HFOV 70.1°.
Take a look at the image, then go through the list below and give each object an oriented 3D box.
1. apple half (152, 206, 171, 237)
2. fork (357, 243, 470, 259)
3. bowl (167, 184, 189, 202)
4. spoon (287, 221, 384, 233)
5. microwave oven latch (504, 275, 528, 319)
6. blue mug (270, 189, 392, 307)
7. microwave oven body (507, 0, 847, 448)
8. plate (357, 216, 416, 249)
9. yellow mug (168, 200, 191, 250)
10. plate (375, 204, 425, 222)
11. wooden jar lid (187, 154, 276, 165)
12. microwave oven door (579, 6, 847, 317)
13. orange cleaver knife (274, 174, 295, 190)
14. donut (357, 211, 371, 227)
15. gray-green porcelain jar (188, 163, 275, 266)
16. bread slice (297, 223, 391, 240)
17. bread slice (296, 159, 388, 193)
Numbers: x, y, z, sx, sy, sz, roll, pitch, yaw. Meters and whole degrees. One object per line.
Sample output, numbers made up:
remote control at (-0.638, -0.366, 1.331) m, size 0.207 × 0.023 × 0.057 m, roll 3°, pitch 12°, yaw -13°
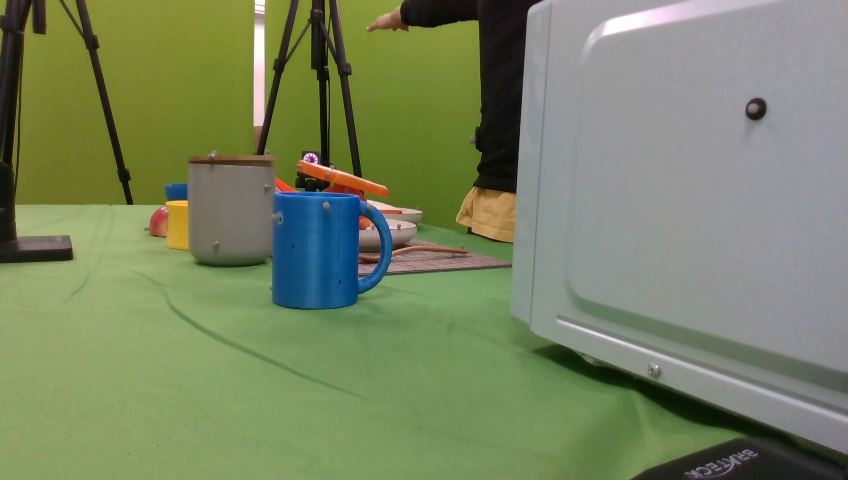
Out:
apple half at (-0.415, -0.034, 1.017) m, size 0.081 × 0.053 × 0.074 m, roll 1°, pitch 10°, yaw -8°
fork at (-0.017, 0.014, 0.845) m, size 0.208 × 0.018 × 0.028 m, roll -5°, pitch -1°, yaw -35°
bowl at (-0.408, -0.064, 1.154) m, size 0.151 × 0.077 × 0.151 m, roll 2°, pitch 8°, yaw 0°
spoon at (-0.156, -0.027, 1.110) m, size 0.195 × 0.021 × 0.041 m, roll -4°, pitch -14°, yaw -35°
microwave oven latch at (0.100, 0.041, 0.471) m, size 0.079 × 0.029 × 0.030 m, roll -1°, pitch 7°, yaw -27°
blue mug at (-0.090, 0.005, 0.588) m, size 0.117 × 0.106 × 0.082 m, roll 1°, pitch 7°, yaw -11°
microwave oven body at (0.331, -0.042, 0.425) m, size 0.444 × 0.260 × 0.324 m, roll -2°, pitch 8°, yaw -31°
plate at (-0.116, -0.014, 0.967) m, size 0.208 × 0.039 × 0.207 m, roll 2°, pitch 7°, yaw 0°
yellow mug at (-0.320, -0.023, 0.904) m, size 0.130 × 0.064 × 0.100 m, roll 8°, pitch 10°, yaw 36°
plate at (-0.102, -0.053, 1.299) m, size 0.209 × 0.038 × 0.209 m, roll 2°, pitch 8°, yaw 0°
wooden jar lid at (-0.244, -0.097, 0.771) m, size 0.108 × 0.020 × 0.108 m, roll -1°, pitch 7°, yaw 0°
microwave oven door at (0.294, -0.067, 0.570) m, size 0.358 × 0.243 × 0.039 m, roll -3°, pitch 9°, yaw -31°
orange cleaver knife at (-0.283, -0.087, 1.343) m, size 0.212 × 0.077 × 0.012 m, roll 23°, pitch -15°, yaw -41°
donut at (-0.129, -0.041, 0.956) m, size 0.099 × 0.048 × 0.099 m, roll 2°, pitch 7°, yaw 0°
gray-green porcelain jar at (-0.246, -0.034, 0.779) m, size 0.106 × 0.126 × 0.106 m, roll 1°, pitch 7°, yaw 0°
bread slice at (-0.121, -0.015, 0.970) m, size 0.106 × 0.018 × 0.135 m, roll 10°, pitch 9°, yaw 40°
bread slice at (-0.132, -0.102, 0.952) m, size 0.132 × 0.019 × 0.104 m, roll 12°, pitch 7°, yaw -36°
